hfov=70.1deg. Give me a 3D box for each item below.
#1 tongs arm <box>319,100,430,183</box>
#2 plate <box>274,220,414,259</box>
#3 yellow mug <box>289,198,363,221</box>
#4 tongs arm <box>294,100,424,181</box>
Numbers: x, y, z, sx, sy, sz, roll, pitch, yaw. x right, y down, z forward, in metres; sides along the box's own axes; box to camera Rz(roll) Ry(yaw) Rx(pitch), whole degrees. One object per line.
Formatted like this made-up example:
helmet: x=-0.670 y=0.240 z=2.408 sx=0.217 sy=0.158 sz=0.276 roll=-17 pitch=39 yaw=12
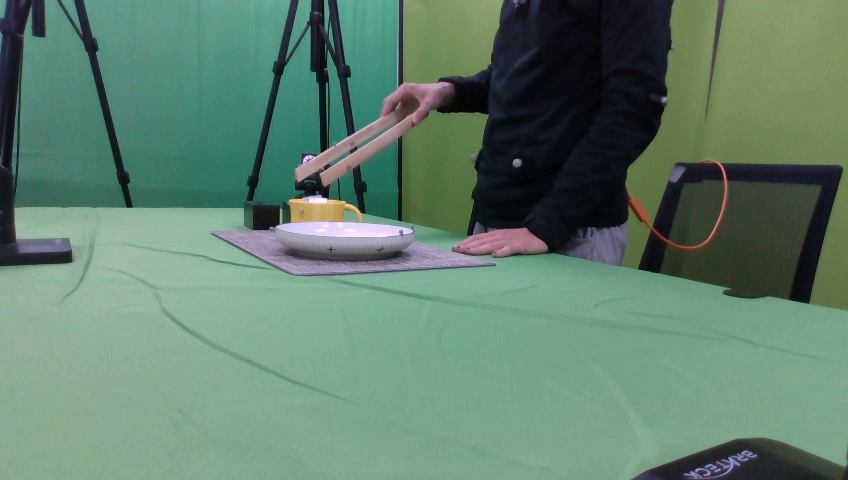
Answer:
tongs arm: x=-0.082 y=-0.199 z=1.169 sx=0.028 sy=0.028 sz=0.388 roll=2 pitch=30 yaw=33
plate: x=-0.118 y=-0.001 z=0.903 sx=0.208 sy=0.039 sz=0.207 roll=3 pitch=7 yaw=0
yellow mug: x=-0.174 y=-0.039 z=1.072 sx=0.131 sy=0.064 sz=0.100 roll=3 pitch=7 yaw=0
tongs arm: x=-0.113 y=-0.204 z=1.189 sx=0.050 sy=0.026 sz=0.386 roll=6 pitch=32 yaw=31
